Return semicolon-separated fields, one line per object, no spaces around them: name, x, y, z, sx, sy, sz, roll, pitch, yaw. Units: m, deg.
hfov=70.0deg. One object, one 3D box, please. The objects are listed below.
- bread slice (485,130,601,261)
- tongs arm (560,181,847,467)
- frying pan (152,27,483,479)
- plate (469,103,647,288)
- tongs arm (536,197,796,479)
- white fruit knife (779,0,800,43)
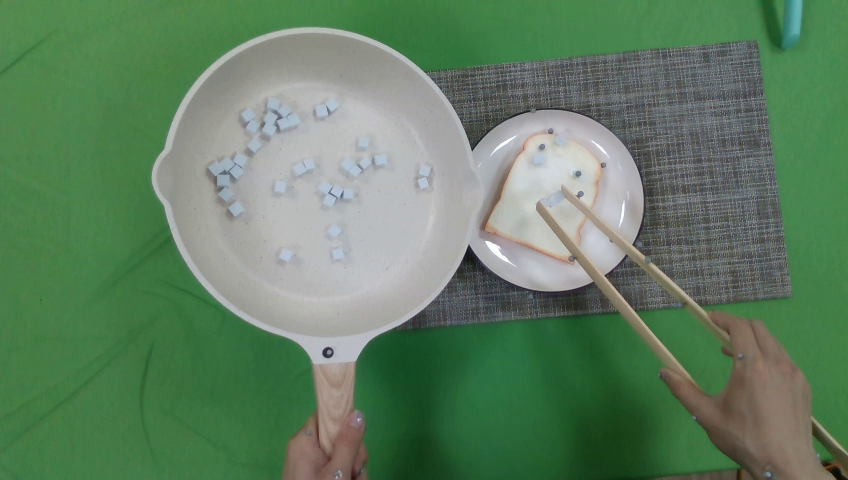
bread slice;0.137;-0.056;0.685;0.107;0.018;0.134;18;88;2
tongs arm;0.251;0.084;0.568;0.051;0.027;0.381;-40;68;-10
frying pan;-0.088;0.051;0.572;0.308;0.102;0.486;1;80;-19
plate;0.141;-0.049;0.683;0.207;0.039;0.207;0;85;2
tongs arm;0.233;0.097;0.565;0.028;0.028;0.384;-34;68;-11
white fruit knife;0.412;-0.331;0.680;0.016;0.027;0.208;-5;99;0
